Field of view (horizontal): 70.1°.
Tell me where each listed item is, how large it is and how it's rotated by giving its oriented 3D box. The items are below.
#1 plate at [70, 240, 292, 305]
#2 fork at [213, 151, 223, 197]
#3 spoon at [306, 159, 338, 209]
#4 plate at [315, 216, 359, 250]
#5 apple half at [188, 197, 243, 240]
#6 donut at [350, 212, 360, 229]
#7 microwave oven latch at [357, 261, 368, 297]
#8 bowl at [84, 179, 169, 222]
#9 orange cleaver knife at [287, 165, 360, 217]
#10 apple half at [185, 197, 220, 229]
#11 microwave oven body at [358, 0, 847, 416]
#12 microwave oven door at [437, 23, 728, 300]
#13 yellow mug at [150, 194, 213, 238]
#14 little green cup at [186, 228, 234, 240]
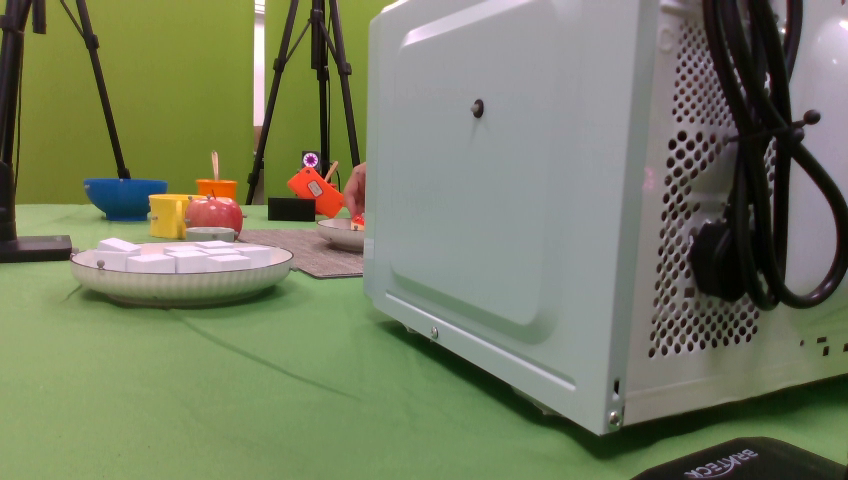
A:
[{"bbox_3d":[-0.242,0.031,0.618,0.208,0.039,0.207,2,8,0],"label":"plate"},{"bbox_3d":[-0.494,-0.143,1.442,0.028,0.018,0.206,-2,52,-20],"label":"fork"},{"bbox_3d":[-0.257,-0.147,1.567,0.041,0.022,0.193,1,51,20],"label":"spoon"},{"bbox_3d":[-0.068,-0.010,0.963,0.209,0.038,0.209,3,8,0],"label":"plate"},{"bbox_3d":[-0.305,-0.026,0.907,0.053,0.074,0.081,12,8,31],"label":"apple half"},{"bbox_3d":[-0.069,-0.022,0.964,0.099,0.048,0.099,4,7,0],"label":"donut"},{"bbox_3d":[-0.019,0.033,0.531,0.079,0.029,0.030,-1,7,-27],"label":"microwave oven latch"},{"bbox_3d":[-0.584,-0.078,1.194,0.151,0.077,0.151,3,8,0],"label":"bowl"},{"bbox_3d":[-0.210,-0.093,1.382,0.212,0.077,0.012,33,1,-15],"label":"orange cleaver knife"},{"bbox_3d":[-0.338,-0.031,0.927,0.032,0.081,0.081,12,12,31],"label":"apple half"},{"bbox_3d":[0.211,-0.047,0.475,0.444,0.260,0.324,-1,7,-28],"label":"microwave oven body"},{"bbox_3d":[0.180,-0.072,0.621,0.358,0.243,0.039,-2,8,-29],"label":"microwave oven door"},{"bbox_3d":[-0.401,-0.040,1.003,0.100,0.064,0.130,-1,9,-20],"label":"yellow mug"},{"bbox_3d":[-0.284,0.005,0.805,0.061,0.038,0.061,2,8,0],"label":"little green cup"}]
